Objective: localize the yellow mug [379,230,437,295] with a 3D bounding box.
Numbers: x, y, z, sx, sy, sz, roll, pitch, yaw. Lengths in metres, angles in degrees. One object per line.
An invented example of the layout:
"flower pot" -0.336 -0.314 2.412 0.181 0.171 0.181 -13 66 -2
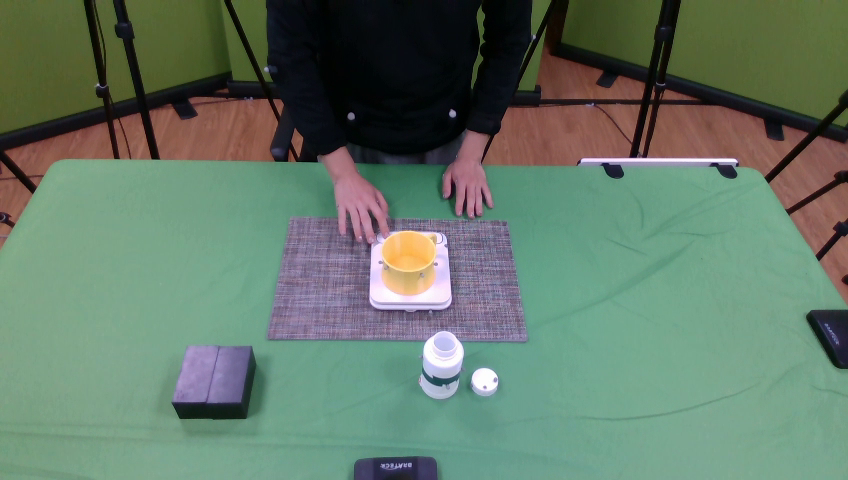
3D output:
"yellow mug" -0.020 0.030 1.089 0.099 0.064 0.130 31 51 24

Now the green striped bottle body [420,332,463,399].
"green striped bottle body" 0.027 0.193 0.947 0.063 0.120 0.063 2 47 -2

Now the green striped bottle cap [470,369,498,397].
"green striped bottle cap" 0.098 0.232 0.989 0.044 0.020 0.044 2 41 -1

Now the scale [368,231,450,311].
"scale" -0.029 0.048 1.137 0.149 0.032 0.199 1 46 -4
